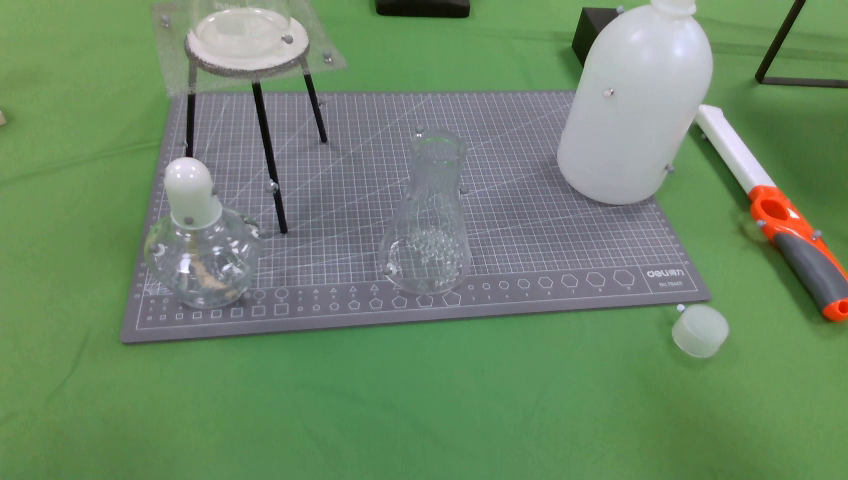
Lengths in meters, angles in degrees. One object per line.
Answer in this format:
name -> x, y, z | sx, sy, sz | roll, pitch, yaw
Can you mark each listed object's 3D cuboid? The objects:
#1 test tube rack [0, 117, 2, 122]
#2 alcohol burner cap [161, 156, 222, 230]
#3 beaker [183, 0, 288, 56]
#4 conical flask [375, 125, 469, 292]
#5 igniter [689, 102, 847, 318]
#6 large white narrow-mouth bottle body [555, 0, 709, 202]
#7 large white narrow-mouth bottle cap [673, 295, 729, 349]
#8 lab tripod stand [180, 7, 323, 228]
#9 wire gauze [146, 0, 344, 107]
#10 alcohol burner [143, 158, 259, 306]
test tube rack -> -0.486, -0.093, 0.471 | 0.066, 0.086, 0.242 | 35, 53, 23
alcohol burner cap -> -0.151, -0.032, 0.389 | 0.034, 0.048, 0.033 | 4, 53, -4
beaker -> -0.133, -0.184, 0.409 | 0.084, 0.101, 0.073 | -8, 51, -14
conical flask -> 0.003, -0.024, 0.445 | 0.075, 0.123, 0.074 | 4, 47, -4
igniter -> 0.319, -0.041, 0.569 | 0.057, 0.025, 0.273 | 5, 46, -17
large white narrow-mouth bottle body -> 0.181, -0.131, 0.516 | 0.102, 0.196, 0.101 | 3, 47, -3
large white narrow-mouth bottle cap -> 0.213, 0.063, 0.466 | 0.038, 0.024, 0.037 | 3, 47, -3
lab tripod stand -> -0.135, -0.104, 0.491 | 0.148, 0.132, 0.147 | 5, 48, -5
wire gauze -> -0.133, -0.149, 0.444 | 0.122, 0.011, 0.123 | -15, 55, -18
alcohol burner -> -0.155, -0.009, 0.416 | 0.078, 0.120, 0.077 | 5, 46, -5
